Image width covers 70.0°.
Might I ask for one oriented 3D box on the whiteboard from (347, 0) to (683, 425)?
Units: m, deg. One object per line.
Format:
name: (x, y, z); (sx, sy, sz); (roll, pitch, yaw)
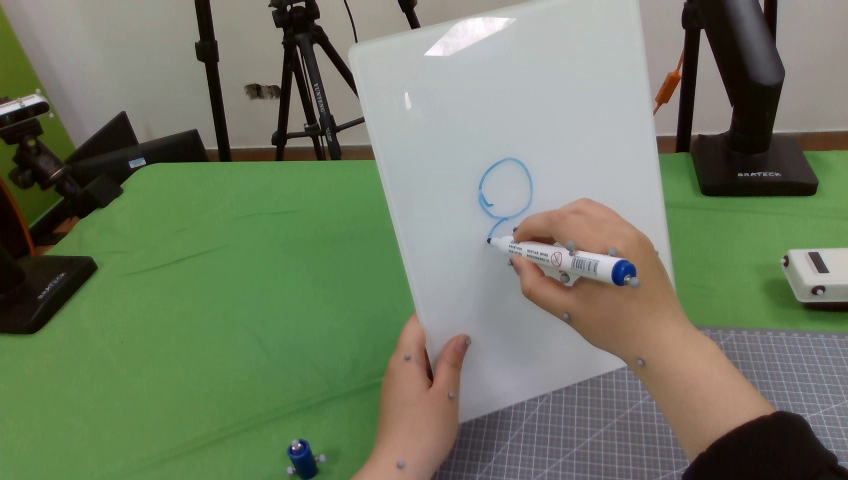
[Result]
whiteboard: (0.073, -0.038, 0.525); (0.217, 0.307, 0.143); (-16, 17, -7)

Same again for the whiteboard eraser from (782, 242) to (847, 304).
whiteboard eraser: (0.385, 0.029, 0.534); (0.112, 0.042, 0.055); (-1, 40, 11)

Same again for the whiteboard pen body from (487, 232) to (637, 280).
whiteboard pen body: (0.082, 0.007, 0.397); (0.017, 0.017, 0.139); (-28, 20, -23)

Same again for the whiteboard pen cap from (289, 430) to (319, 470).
whiteboard pen cap: (-0.093, 0.165, 0.474); (0.018, 0.033, 0.018); (-6, 38, 5)
